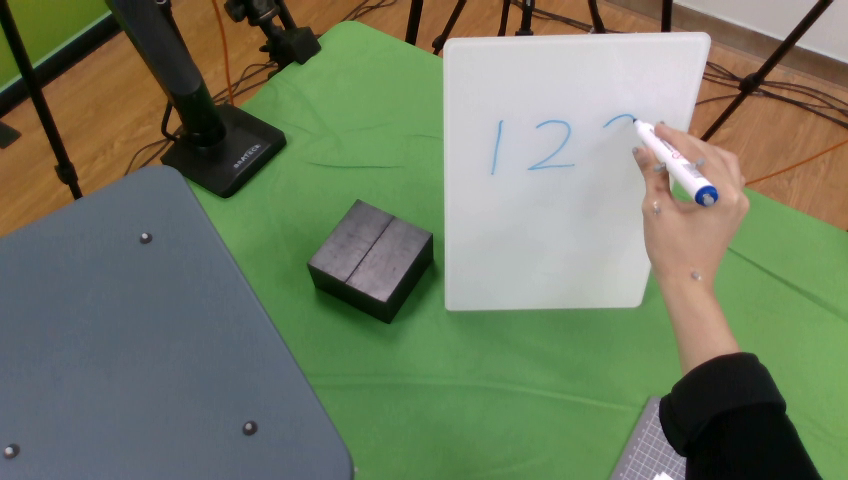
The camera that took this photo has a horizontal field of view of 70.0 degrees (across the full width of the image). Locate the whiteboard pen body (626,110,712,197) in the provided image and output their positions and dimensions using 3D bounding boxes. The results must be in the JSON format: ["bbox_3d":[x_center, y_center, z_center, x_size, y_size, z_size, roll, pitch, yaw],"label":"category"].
[{"bbox_3d":[0.185,-0.073,0.472,0.017,0.017,0.139,-6,35,-3],"label":"whiteboard pen body"}]

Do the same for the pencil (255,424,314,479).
[{"bbox_3d":[-0.170,0.241,0.551,0.012,0.012,0.193,32,53,20],"label":"pencil"}]

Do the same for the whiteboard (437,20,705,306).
[{"bbox_3d":[0.123,-0.092,0.628,0.217,0.308,0.142,-1,38,1],"label":"whiteboard"}]

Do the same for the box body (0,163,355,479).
[{"bbox_3d":[-0.248,0.143,0.534,0.254,0.162,0.360,-31,63,-17],"label":"box body"}]

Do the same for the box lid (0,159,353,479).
[{"bbox_3d":[-0.251,0.103,0.472,0.263,0.015,0.368,-31,63,-17],"label":"box lid"}]

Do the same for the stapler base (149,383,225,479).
[{"bbox_3d":[-0.231,0.195,0.571,0.041,0.025,0.129,1,60,24],"label":"stapler base"}]

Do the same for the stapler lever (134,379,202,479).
[{"bbox_3d":[-0.238,0.184,0.552,0.026,0.040,0.117,1,58,24],"label":"stapler lever"}]
